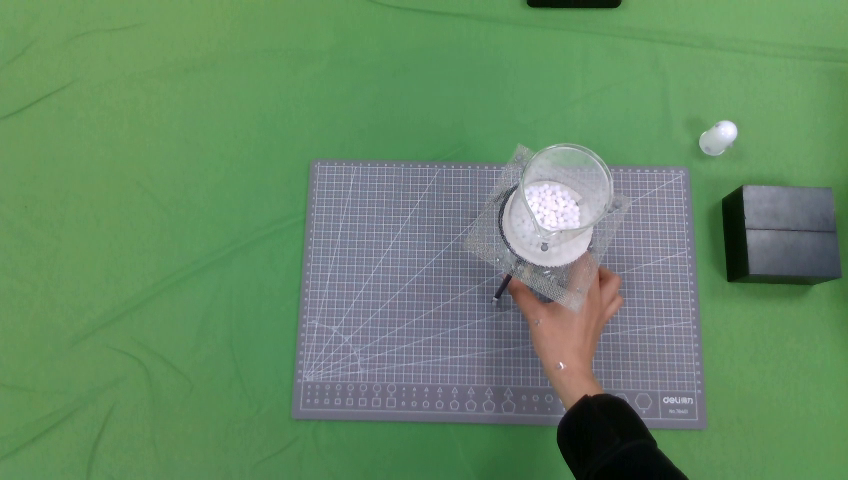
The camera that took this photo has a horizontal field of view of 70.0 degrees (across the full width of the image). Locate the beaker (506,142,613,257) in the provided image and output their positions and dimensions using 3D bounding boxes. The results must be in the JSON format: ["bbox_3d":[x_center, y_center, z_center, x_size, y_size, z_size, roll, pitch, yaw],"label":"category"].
[{"bbox_3d":[0.110,-0.027,0.523,0.074,0.100,0.083,26,78,6],"label":"beaker"}]

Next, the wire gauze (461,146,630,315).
[{"bbox_3d":[0.115,-0.013,0.570,0.125,0.011,0.121,30,80,4],"label":"wire gauze"}]

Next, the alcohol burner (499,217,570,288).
[{"bbox_3d":[0.120,0.010,0.641,0.078,0.119,0.077,0,77,-1],"label":"alcohol burner"}]

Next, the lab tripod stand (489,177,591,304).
[{"bbox_3d":[0.117,-0.003,0.634,0.148,0.132,0.147,0,75,-1],"label":"lab tripod stand"}]

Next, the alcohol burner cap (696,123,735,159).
[{"bbox_3d":[0.345,-0.119,0.711,0.034,0.048,0.033,0,76,1],"label":"alcohol burner cap"}]
